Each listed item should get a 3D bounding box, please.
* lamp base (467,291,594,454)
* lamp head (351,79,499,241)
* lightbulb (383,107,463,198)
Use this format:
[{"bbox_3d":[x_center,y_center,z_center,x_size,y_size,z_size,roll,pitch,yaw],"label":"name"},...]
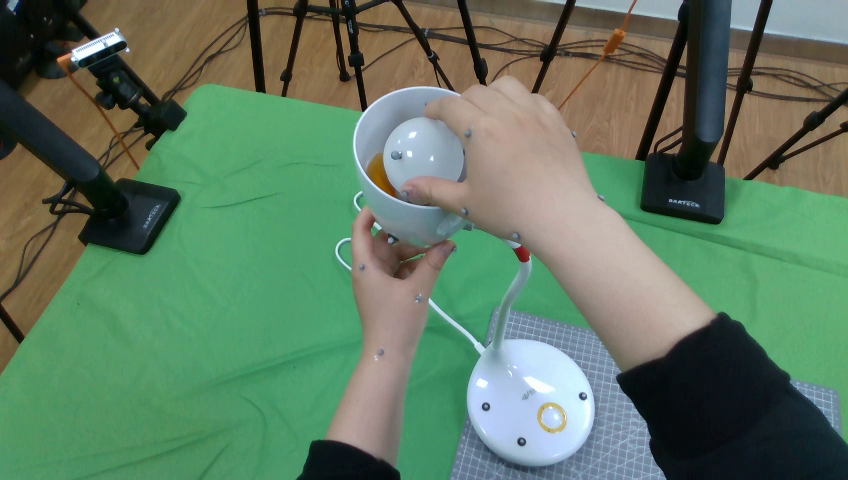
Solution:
[{"bbox_3d":[0.121,0.142,0.709,0.177,0.182,0.160,36,65,25],"label":"lamp base"},{"bbox_3d":[0.002,-0.050,0.496,0.112,0.124,0.111,-1,62,1],"label":"lamp head"},{"bbox_3d":[-0.001,-0.059,0.471,0.059,0.108,0.059,0,70,0],"label":"lightbulb"}]
